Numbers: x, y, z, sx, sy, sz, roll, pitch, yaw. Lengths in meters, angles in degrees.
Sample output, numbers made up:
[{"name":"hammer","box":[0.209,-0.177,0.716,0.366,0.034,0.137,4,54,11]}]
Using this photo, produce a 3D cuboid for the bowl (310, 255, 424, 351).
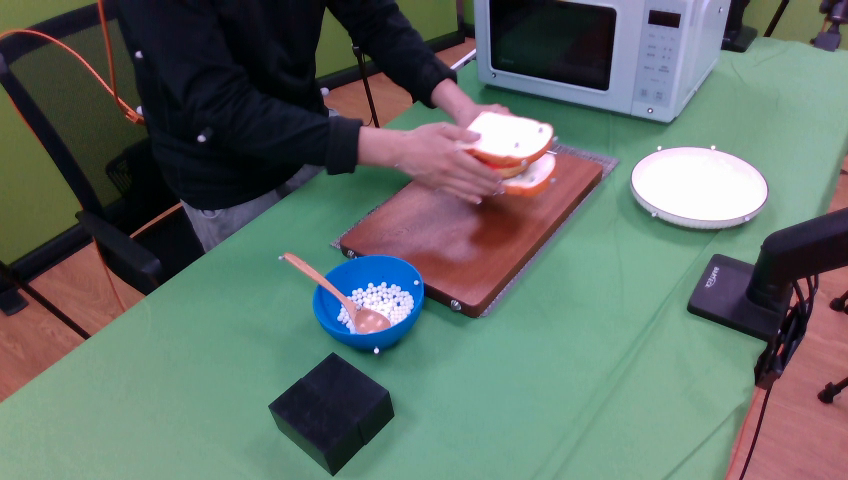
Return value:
[{"name":"bowl","box":[-0.072,0.098,0.821,0.151,0.077,0.150,-4,40,4]}]

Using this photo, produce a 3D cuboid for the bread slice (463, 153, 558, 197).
[{"name":"bread slice","box":[0.139,-0.110,0.928,0.130,0.019,0.105,15,52,32]}]

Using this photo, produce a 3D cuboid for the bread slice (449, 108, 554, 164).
[{"name":"bread slice","box":[0.121,-0.152,0.888,0.133,0.018,0.107,16,49,26]}]

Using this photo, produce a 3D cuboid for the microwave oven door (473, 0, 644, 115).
[{"name":"microwave oven door","box":[0.257,-0.396,1.199,0.353,0.245,0.039,21,48,29]}]

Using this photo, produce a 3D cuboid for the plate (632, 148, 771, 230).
[{"name":"plate","box":[0.447,-0.081,0.988,0.207,0.039,0.206,-4,40,4]}]

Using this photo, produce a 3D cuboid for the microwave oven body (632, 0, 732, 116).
[{"name":"microwave oven body","box":[0.377,-0.462,1.267,0.438,0.261,0.327,21,49,30]}]

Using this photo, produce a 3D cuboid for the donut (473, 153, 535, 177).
[{"name":"donut","box":[0.124,-0.132,0.911,0.099,0.048,0.098,-8,40,7]}]

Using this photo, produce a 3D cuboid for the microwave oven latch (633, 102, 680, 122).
[{"name":"microwave oven latch","box":[0.444,-0.249,1.157,0.078,0.029,0.030,21,49,30]}]

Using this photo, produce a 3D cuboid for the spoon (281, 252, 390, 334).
[{"name":"spoon","box":[-0.122,0.070,0.811,0.193,0.022,0.042,38,61,16]}]
